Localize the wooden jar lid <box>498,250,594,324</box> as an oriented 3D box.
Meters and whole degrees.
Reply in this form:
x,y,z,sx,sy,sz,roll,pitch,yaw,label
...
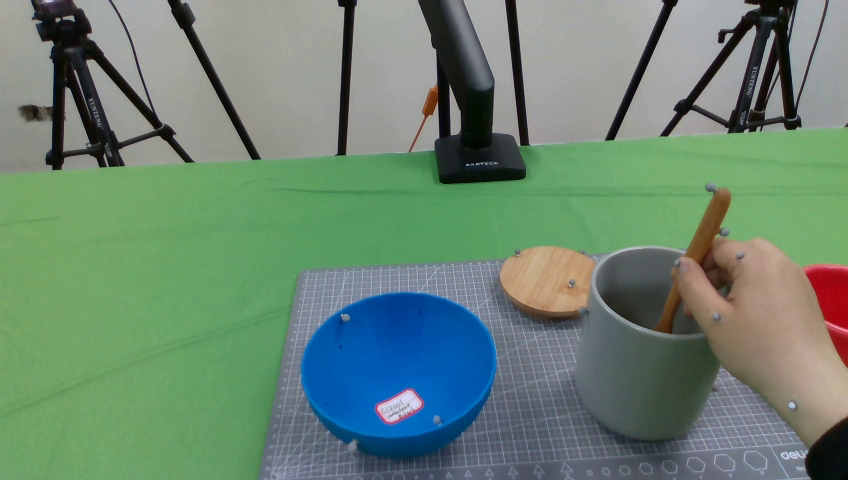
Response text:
x,y,z,sx,sy,sz,roll,pitch,yaw,label
0.130,0.049,0.629,0.108,0.021,0.107,-1,35,1,wooden jar lid

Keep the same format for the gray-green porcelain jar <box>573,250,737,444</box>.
x,y,z,sx,sy,sz,roll,pitch,yaw,label
0.175,0.088,0.480,0.106,0.127,0.105,-1,36,1,gray-green porcelain jar

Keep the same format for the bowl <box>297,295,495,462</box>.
x,y,z,sx,sy,sz,roll,pitch,yaw,label
-0.020,0.121,0.484,0.151,0.077,0.150,-1,36,1,bowl

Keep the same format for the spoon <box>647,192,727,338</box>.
x,y,z,sx,sy,sz,roll,pitch,yaw,label
0.183,0.049,0.445,0.022,0.195,0.041,-17,43,-23,spoon
